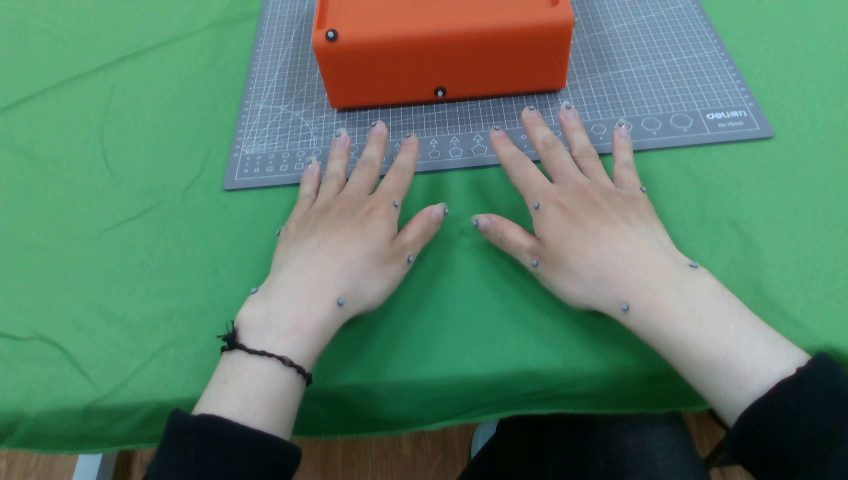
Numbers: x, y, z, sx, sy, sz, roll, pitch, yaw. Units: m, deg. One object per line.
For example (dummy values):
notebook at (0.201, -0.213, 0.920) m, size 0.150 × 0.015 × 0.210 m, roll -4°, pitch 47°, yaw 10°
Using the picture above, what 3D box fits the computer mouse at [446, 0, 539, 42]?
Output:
computer mouse at (0.067, -0.222, 0.564) m, size 0.062 × 0.041 × 0.116 m, roll 5°, pitch 38°, yaw 29°

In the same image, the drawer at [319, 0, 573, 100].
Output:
drawer at (0.019, -0.224, 0.567) m, size 0.212 × 0.074 × 0.192 m, roll -5°, pitch 53°, yaw 4°

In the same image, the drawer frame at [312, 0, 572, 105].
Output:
drawer frame at (0.016, -0.224, 0.565) m, size 0.213 × 0.083 × 0.199 m, roll -5°, pitch 53°, yaw 3°
